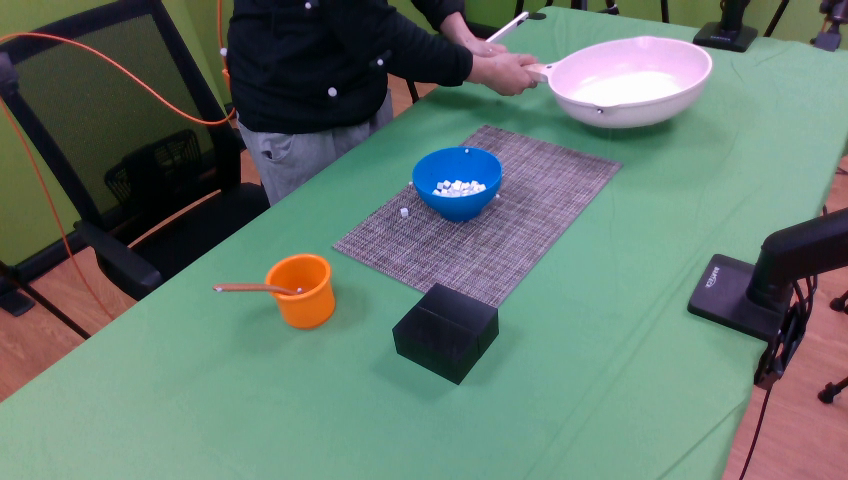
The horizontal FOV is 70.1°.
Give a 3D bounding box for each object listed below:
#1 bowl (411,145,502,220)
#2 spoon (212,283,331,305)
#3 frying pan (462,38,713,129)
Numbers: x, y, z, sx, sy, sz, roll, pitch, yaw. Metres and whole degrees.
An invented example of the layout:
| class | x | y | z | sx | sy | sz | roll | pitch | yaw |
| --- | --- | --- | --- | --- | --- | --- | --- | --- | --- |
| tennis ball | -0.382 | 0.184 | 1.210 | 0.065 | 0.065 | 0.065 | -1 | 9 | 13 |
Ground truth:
| class | x | y | z | sx | sy | sz | roll | pitch | yaw |
| --- | --- | --- | --- | --- | --- | --- | --- | --- | --- |
| bowl | 0.057 | -0.086 | 1.010 | 0.151 | 0.077 | 0.150 | -4 | 40 | 4 |
| spoon | -0.201 | 0.069 | 0.819 | 0.041 | 0.195 | 0.021 | 33 | 99 | 37 |
| frying pan | 0.299 | -0.325 | 1.194 | 0.485 | 0.103 | 0.307 | 17 | 45 | 24 |
